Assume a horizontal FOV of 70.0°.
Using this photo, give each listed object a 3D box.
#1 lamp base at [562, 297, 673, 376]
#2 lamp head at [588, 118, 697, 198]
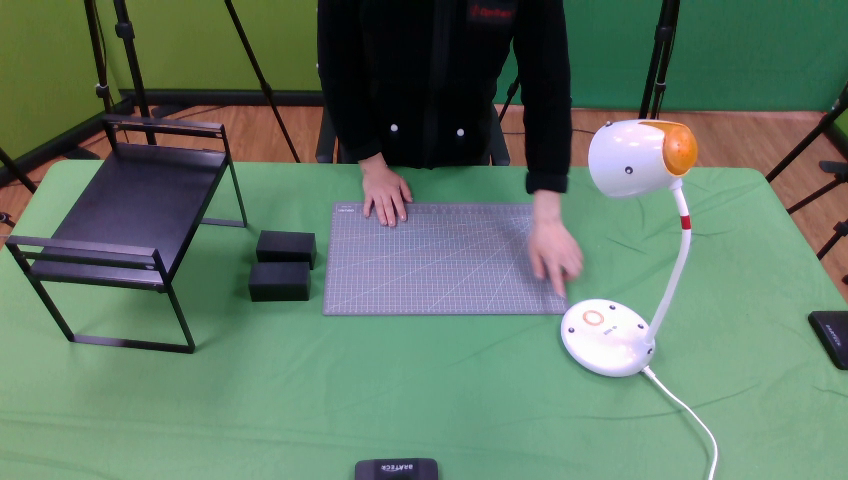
[{"bbox_3d":[0.333,0.120,0.995,0.160,0.181,0.178,-34,59,-31],"label":"lamp base"},{"bbox_3d":[0.304,-0.112,0.822,0.112,0.112,0.122,-26,16,-26],"label":"lamp head"}]
